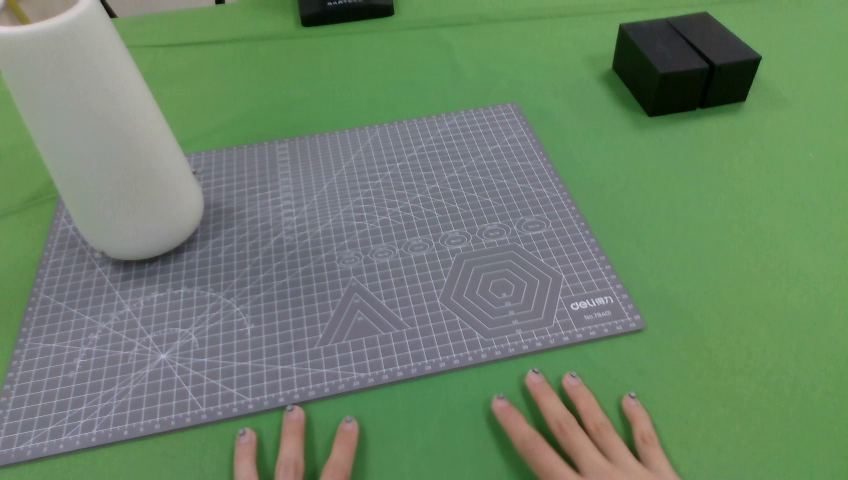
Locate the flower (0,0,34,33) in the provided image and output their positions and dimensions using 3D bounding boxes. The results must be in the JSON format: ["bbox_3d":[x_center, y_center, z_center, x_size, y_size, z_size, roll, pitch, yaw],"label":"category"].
[{"bbox_3d":[-0.256,-0.135,0.396,0.044,0.365,0.038,-39,39,-22],"label":"flower"}]

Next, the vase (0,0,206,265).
[{"bbox_3d":[-0.235,-0.074,0.452,0.098,0.202,0.097,-1,44,2],"label":"vase"}]
